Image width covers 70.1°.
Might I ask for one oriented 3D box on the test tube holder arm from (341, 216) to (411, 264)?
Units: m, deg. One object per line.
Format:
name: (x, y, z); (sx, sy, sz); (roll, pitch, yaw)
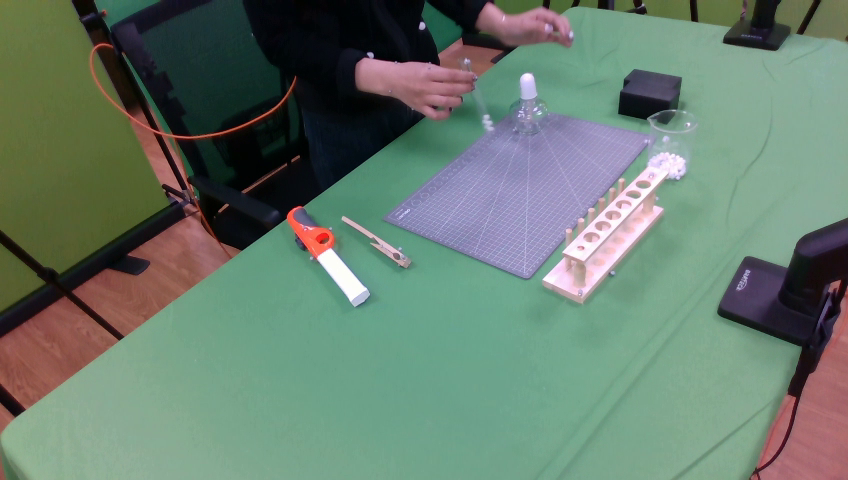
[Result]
test tube holder arm: (-0.083, -0.002, 1.000); (0.177, 0.015, 0.013); (33, 86, 40)

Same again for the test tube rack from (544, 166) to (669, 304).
test tube rack: (0.274, -0.018, 0.903); (0.066, 0.085, 0.243); (26, 51, 35)

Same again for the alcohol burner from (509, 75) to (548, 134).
alcohol burner: (0.204, -0.270, 1.186); (0.078, 0.119, 0.077); (-5, 42, 5)

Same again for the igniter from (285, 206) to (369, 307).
igniter: (-0.166, 0.018, 0.986); (0.057, 0.025, 0.274); (-34, 45, -12)

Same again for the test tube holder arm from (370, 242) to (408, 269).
test tube holder arm: (-0.057, 0.021, 0.971); (0.087, 0.015, 0.010); (34, 87, 40)

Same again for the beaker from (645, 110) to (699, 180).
beaker: (0.417, -0.160, 1.032); (0.083, 0.101, 0.074); (25, 51, 35)

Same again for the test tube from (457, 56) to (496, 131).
test tube: (0.089, -0.241, 1.011); (0.017, 0.151, 0.017); (-18, 42, 17)

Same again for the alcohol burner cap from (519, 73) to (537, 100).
alcohol burner cap: (0.198, -0.298, 1.163); (0.034, 0.048, 0.033); (-9, 38, 8)
